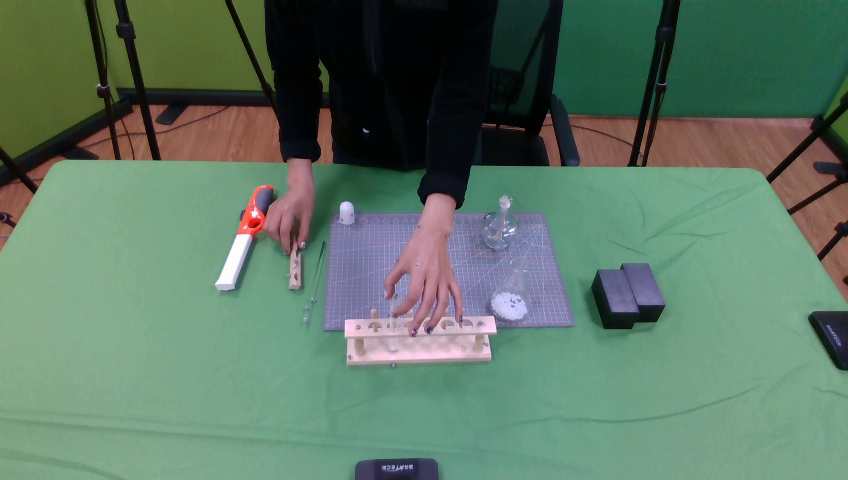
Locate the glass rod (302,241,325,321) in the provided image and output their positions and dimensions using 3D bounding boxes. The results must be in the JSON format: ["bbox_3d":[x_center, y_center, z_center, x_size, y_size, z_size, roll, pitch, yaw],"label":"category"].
[{"bbox_3d":[-0.203,0.071,1.123,0.008,0.008,0.198,4,44,1],"label":"glass rod"}]

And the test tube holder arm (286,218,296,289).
[{"bbox_3d":[-0.254,0.022,1.158,0.013,0.015,0.177,24,35,-35],"label":"test tube holder arm"}]

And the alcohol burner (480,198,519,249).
[{"bbox_3d":[0.150,-0.038,1.182,0.078,0.119,0.077,3,47,-3],"label":"alcohol burner"}]

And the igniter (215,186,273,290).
[{"bbox_3d":[-0.347,-0.014,1.182,0.057,0.025,0.275,-1,45,8],"label":"igniter"}]

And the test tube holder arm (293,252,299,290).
[{"bbox_3d":[-0.241,0.056,1.131,0.010,0.015,0.087,25,35,-34],"label":"test tube holder arm"}]

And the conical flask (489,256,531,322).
[{"bbox_3d":[0.158,0.081,1.060,0.075,0.122,0.075,2,46,-2],"label":"conical flask"}]

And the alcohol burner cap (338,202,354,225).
[{"bbox_3d":[-0.159,-0.056,1.224,0.034,0.048,0.033,2,46,-2],"label":"alcohol burner cap"}]

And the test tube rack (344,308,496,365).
[{"bbox_3d":[-0.009,0.154,1.006,0.242,0.085,0.066,-1,46,-5],"label":"test tube rack"}]

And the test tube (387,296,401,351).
[{"bbox_3d":[-0.048,0.135,0.952,0.017,0.151,0.017,3,51,-3],"label":"test tube"}]
